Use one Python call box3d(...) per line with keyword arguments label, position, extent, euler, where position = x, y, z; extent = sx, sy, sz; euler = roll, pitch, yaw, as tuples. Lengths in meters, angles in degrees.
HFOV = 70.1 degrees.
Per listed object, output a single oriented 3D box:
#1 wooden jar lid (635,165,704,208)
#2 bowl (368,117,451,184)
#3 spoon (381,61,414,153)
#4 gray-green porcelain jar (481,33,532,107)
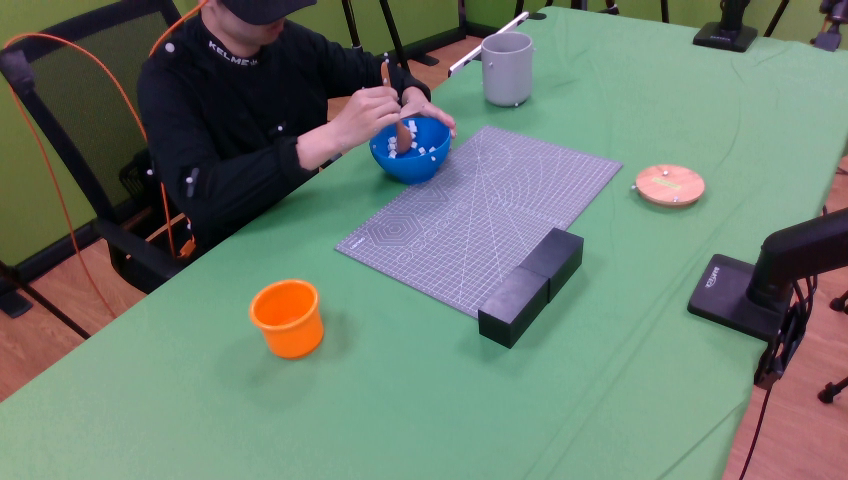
box3d(label="wooden jar lid", position=(0.410, -0.089, 1.014), extent=(0.108, 0.021, 0.108), euler=(-5, 42, 5))
box3d(label="bowl", position=(-0.021, -0.155, 1.107), extent=(0.151, 0.077, 0.150), euler=(-5, 38, 5))
box3d(label="spoon", position=(-0.051, -0.230, 1.070), extent=(0.042, 0.195, 0.021), euler=(-42, 49, -21))
box3d(label="gray-green porcelain jar", position=(0.175, -0.355, 1.278), extent=(0.106, 0.127, 0.105), euler=(-4, 41, 4))
